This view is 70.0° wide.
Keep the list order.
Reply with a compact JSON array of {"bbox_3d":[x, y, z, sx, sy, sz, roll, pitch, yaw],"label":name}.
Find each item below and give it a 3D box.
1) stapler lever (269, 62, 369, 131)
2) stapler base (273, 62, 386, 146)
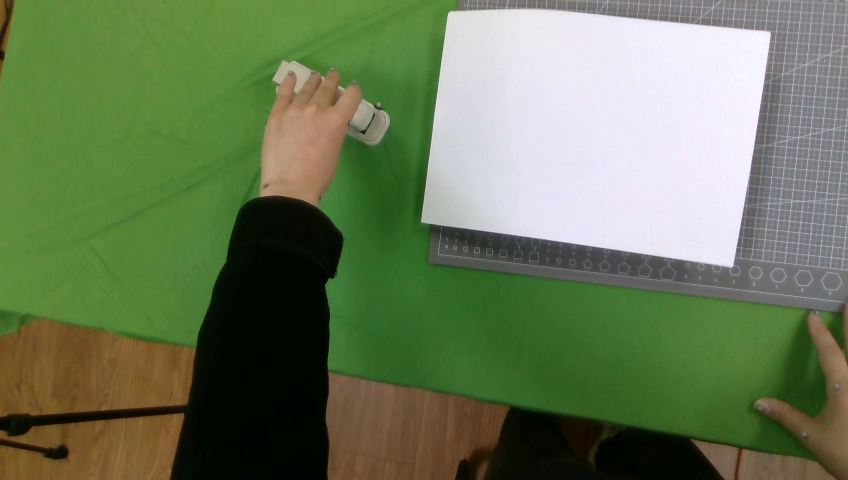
[{"bbox_3d":[-0.109,-0.148,0.617,0.117,0.040,0.027,30,91,9],"label":"stapler lever"},{"bbox_3d":[-0.103,-0.146,0.641,0.130,0.024,0.041,30,91,10],"label":"stapler base"}]
